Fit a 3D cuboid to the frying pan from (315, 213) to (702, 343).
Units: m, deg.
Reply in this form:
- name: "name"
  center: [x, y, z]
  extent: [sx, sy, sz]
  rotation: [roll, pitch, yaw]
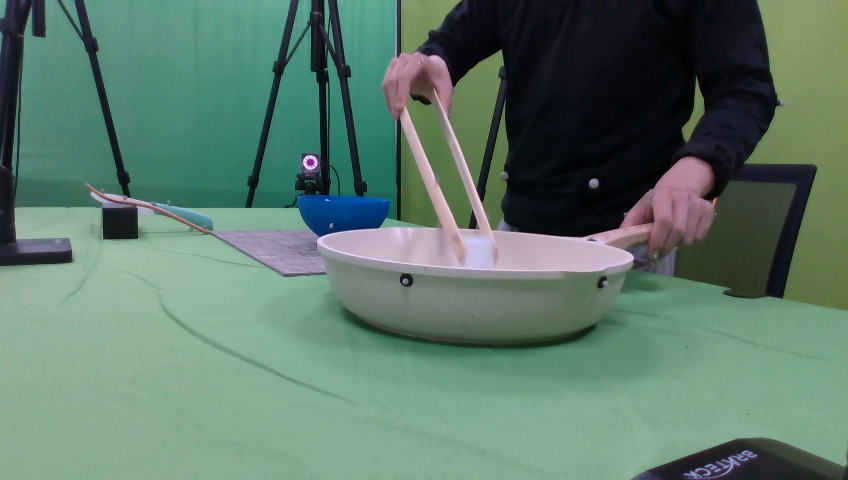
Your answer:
- name: "frying pan"
  center: [0.133, 0.013, 0.629]
  extent: [0.490, 0.102, 0.305]
  rotation: [-11, 14, -29]

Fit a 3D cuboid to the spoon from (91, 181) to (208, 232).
- name: "spoon"
  center: [-0.461, -0.053, 1.023]
  extent: [0.195, 0.021, 0.041]
  rotation: [21, 25, -24]

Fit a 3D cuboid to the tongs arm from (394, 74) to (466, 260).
- name: "tongs arm"
  center: [0.010, -0.113, 0.763]
  extent: [0.051, 0.026, 0.383]
  rotation: [-5, 42, -16]

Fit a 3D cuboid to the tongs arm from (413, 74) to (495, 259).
- name: "tongs arm"
  center: [0.033, -0.113, 0.768]
  extent: [0.028, 0.028, 0.386]
  rotation: [-5, 41, -10]

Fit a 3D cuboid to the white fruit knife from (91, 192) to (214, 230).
- name: "white fruit knife"
  center: [-0.477, -0.055, 1.077]
  extent: [0.208, 0.027, 0.016]
  rotation: [15, -5, -30]

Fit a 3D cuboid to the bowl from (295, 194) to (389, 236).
- name: "bowl"
  center: [-0.132, -0.032, 0.980]
  extent: [0.151, 0.077, 0.151]
  rotation: [2, 7, 0]
